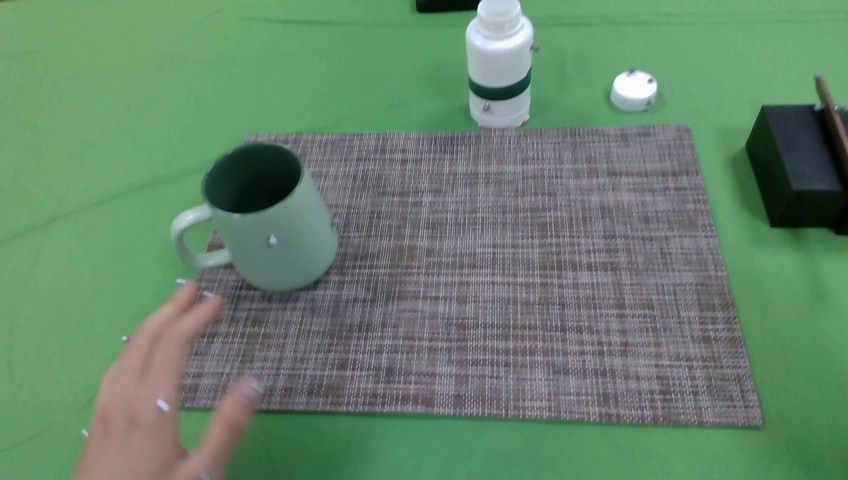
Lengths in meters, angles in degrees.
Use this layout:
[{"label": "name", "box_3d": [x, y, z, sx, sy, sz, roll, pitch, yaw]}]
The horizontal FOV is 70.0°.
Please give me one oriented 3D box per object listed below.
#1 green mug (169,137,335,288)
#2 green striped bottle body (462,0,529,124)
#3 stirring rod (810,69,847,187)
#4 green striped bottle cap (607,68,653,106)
[{"label": "green mug", "box_3d": [-0.143, -0.014, 0.497, 0.125, 0.106, 0.091, -22, 55, -9]}, {"label": "green striped bottle body", "box_3d": [0.069, -0.177, 0.587, 0.063, 0.120, 0.062, -3, 54, 5]}, {"label": "stirring rod", "box_3d": [0.334, -0.077, 0.487, 0.006, 0.014, 0.174, 0, 54, 13]}, {"label": "green striped bottle cap", "box_3d": [0.211, -0.157, 0.620, 0.044, 0.020, 0.044, -2, 50, 3]}]
